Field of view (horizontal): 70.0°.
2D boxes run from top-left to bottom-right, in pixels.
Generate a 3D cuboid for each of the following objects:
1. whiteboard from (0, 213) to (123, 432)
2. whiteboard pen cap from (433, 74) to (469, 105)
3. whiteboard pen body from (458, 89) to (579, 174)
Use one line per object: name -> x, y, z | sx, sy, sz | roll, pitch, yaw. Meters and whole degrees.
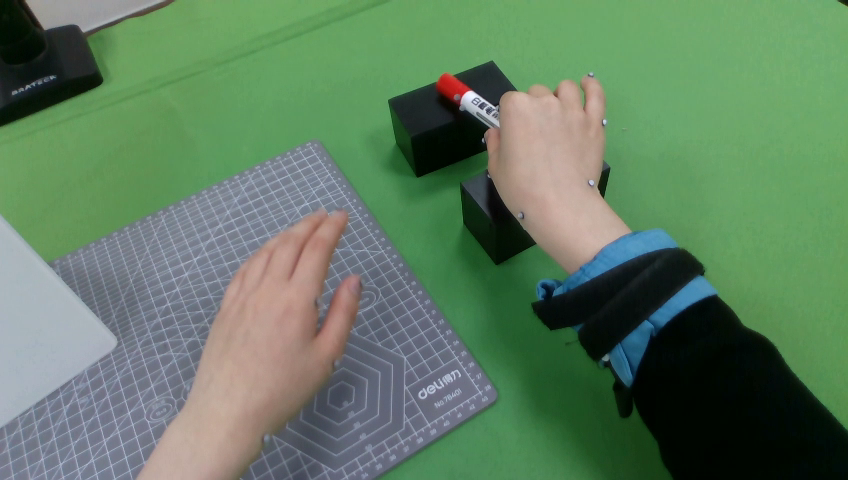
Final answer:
whiteboard -> -0.387, 0.003, 0.370 | 0.217, 0.308, 0.142 | -37, 40, -18
whiteboard pen cap -> 0.024, -0.122, 0.494 | 0.017, 0.017, 0.032 | -39, 57, -20
whiteboard pen body -> 0.061, -0.090, 0.463 | 0.017, 0.017, 0.139 | -38, 58, -19
